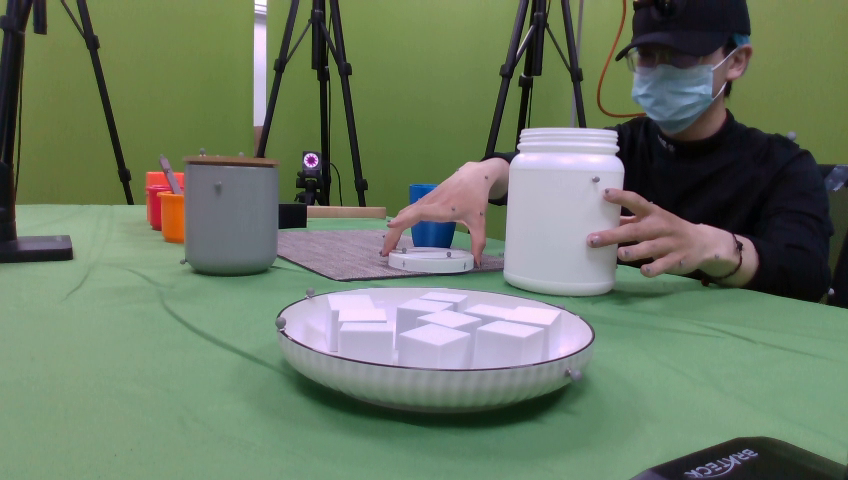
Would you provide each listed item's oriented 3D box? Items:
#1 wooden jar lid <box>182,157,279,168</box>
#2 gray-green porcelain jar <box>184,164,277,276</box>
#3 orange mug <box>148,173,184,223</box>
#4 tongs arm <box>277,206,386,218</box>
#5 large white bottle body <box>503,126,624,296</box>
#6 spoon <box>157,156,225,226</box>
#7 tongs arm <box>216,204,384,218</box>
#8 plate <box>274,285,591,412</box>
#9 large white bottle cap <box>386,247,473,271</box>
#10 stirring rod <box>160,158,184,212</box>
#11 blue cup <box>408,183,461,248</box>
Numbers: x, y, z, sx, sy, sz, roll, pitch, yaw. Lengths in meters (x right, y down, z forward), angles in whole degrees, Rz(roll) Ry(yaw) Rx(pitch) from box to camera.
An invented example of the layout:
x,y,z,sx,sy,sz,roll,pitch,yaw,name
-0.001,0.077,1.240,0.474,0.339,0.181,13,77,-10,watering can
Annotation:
x,y,z,sx,sy,sz,roll,pitch,yaw,name
-0.227,-0.086,0.714,0.108,0.020,0.108,1,6,0,wooden jar lid
-0.230,-0.025,0.722,0.106,0.126,0.106,3,7,0,gray-green porcelain jar
-0.490,-0.087,1.222,0.127,0.101,0.083,-9,13,-38,orange mug
-0.251,-0.063,1.360,0.387,0.026,0.050,-1,3,-31,tongs arm
0.162,-0.037,0.706,0.131,0.184,0.130,2,7,0,large white bottle body
-0.425,-0.094,1.117,0.041,0.022,0.194,5,51,29,spoon
-0.288,-0.069,1.435,0.389,0.027,0.028,0,-1,-17,tongs arm
0.005,0.069,0.408,0.208,0.039,0.207,2,7,0,plate
0.008,0.025,0.803,0.115,0.018,0.115,3,7,0,large white bottle cap
-0.390,-0.070,0.972,0.014,0.006,0.175,-1,49,-49,stirring rod
0.015,-0.039,0.970,0.093,0.100,0.092,2,9,0,blue cup
